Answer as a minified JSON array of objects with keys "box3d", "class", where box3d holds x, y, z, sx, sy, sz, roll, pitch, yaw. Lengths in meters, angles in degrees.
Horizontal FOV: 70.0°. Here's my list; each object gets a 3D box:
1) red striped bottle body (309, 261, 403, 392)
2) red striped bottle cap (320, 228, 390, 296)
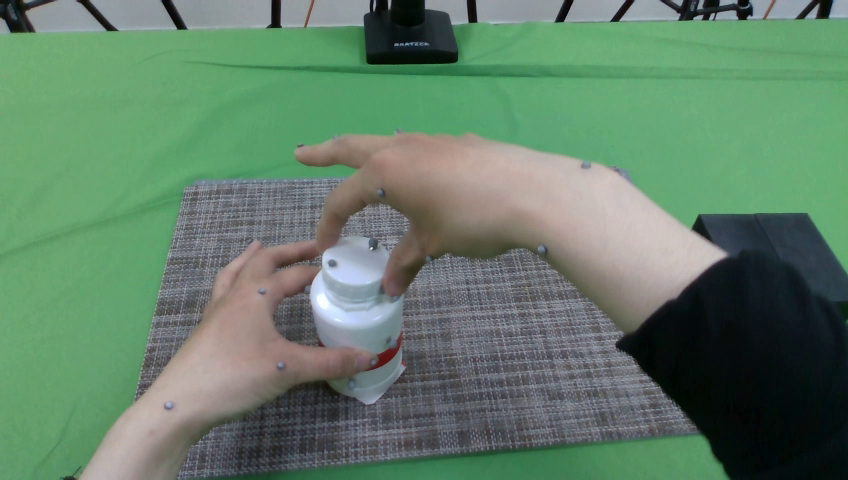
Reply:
[{"box3d":[-0.047,0.053,0.430,0.063,0.120,0.062,2,49,-2],"class":"red striped bottle body"},{"box3d":[-0.044,0.013,0.388,0.044,0.018,0.044,6,51,-7],"class":"red striped bottle cap"}]
